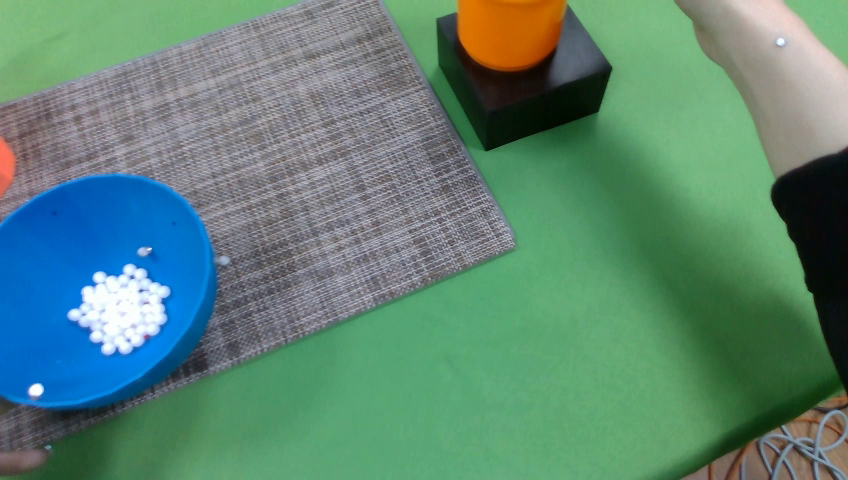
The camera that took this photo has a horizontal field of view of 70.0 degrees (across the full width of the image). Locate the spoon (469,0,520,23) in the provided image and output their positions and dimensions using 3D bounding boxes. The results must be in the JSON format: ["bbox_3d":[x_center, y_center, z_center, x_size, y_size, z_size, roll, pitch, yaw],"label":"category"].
[{"bbox_3d":[0.094,-0.203,0.396,0.022,0.193,0.041,29,57,-21],"label":"spoon"}]

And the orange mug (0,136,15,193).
[{"bbox_3d":[-0.377,-0.089,0.449,0.083,0.101,0.125,-11,68,-3],"label":"orange mug"}]

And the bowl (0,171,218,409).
[{"bbox_3d":[-0.198,0.039,0.390,0.151,0.077,0.150,-1,63,2],"label":"bowl"}]
